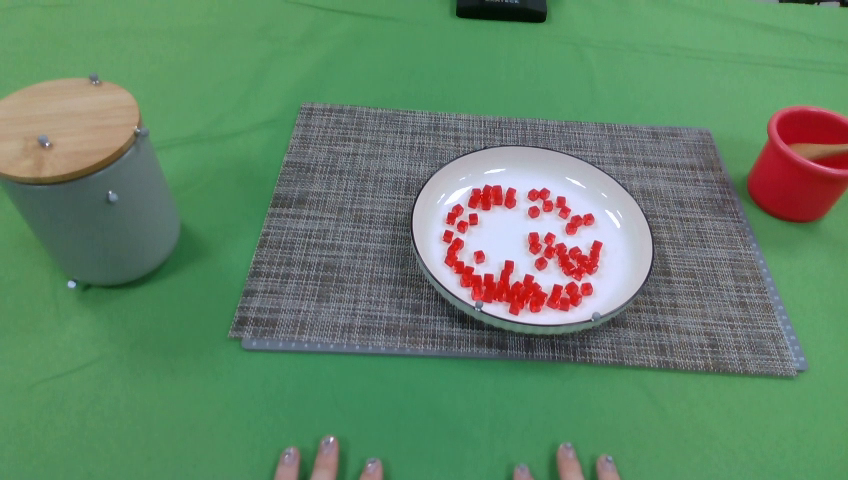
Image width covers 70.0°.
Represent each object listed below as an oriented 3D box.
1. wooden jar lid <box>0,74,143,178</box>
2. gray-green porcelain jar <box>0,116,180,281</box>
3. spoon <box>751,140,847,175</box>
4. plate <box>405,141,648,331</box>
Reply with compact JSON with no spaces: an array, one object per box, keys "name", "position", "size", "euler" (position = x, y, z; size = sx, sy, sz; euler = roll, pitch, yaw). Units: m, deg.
[{"name":"wooden jar lid","position":[-0.258,-0.079,0.434],"size":[0.108,0.021,0.107],"euler":[4,50,-4]},{"name":"gray-green porcelain jar","position":[-0.260,-0.038,0.483],"size":[0.106,0.127,0.105],"euler":[2,50,-2]},{"name":"spoon","position":[0.399,-0.092,0.550],"size":[0.193,0.022,0.041],"euler":[-10,33,42]},{"name":"plate","position":[0.087,-0.005,0.531],"size":[0.208,0.039,0.205],"euler":[2,50,-2]}]
